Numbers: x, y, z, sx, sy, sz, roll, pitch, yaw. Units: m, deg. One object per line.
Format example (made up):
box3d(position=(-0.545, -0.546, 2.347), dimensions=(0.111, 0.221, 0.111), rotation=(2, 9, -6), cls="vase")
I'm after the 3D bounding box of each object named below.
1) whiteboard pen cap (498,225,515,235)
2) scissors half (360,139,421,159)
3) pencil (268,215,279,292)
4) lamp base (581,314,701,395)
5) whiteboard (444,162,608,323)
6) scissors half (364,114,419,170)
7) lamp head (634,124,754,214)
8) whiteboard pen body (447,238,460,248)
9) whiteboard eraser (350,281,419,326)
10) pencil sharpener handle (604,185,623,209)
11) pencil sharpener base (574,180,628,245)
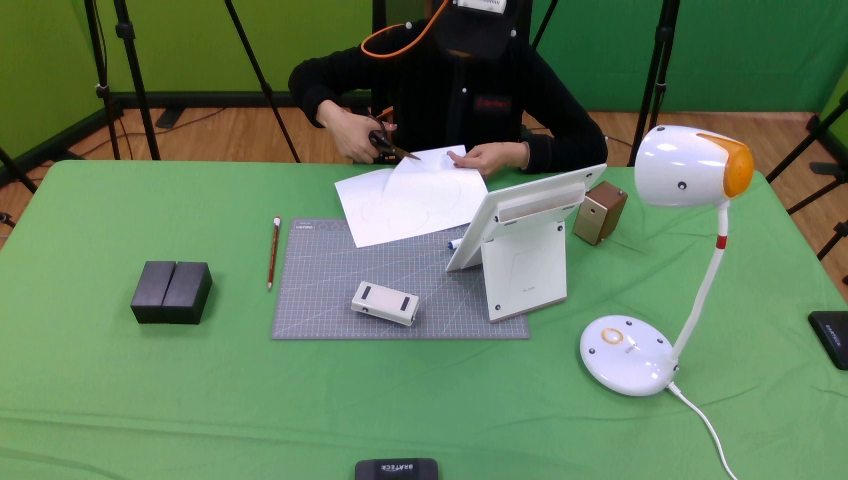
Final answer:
box3d(position=(0.166, -0.019, 1.222), dimensions=(0.033, 0.018, 0.018), rotation=(-15, 49, -19), cls="whiteboard pen cap")
box3d(position=(-0.075, -0.195, 1.337), dimensions=(0.174, 0.040, 0.013), rotation=(16, 30, 35), cls="scissors half")
box3d(position=(-0.290, 0.023, 1.164), dimensions=(0.012, 0.012, 0.192), rotation=(-2, 48, -6), cls="pencil")
box3d(position=(0.361, 0.145, 0.972), dimensions=(0.178, 0.181, 0.160), rotation=(34, 53, 23), cls="lamp base")
box3d(position=(0.186, 0.025, 1.029), dimensions=(0.217, 0.306, 0.143), rotation=(-14, 68, -17), cls="whiteboard")
box3d(position=(-0.071, -0.214, 1.323), dimensions=(0.174, 0.040, 0.013), rotation=(47, 48, 12), cls="scissors half")
box3d(position=(0.351, -0.089, 0.775), dimensions=(0.112, 0.113, 0.122), rotation=(-30, 30, -28), cls="lamp head")
box3d(position=(0.112, -0.006, 1.204), dimensions=(0.141, 0.017, 0.017), rotation=(-14, 49, -18), cls="whiteboard pen body")
box3d(position=(-0.069, 0.113, 1.065), dimensions=(0.112, 0.042, 0.055), rotation=(14, 46, 9), cls="whiteboard eraser")
box3d(position=(0.390, -0.091, 1.235), dimensions=(0.030, 0.068, 0.036), rotation=(-33, 69, -31), cls="pencil sharpener handle")
box3d(position=(0.356, -0.056, 1.217), dimensions=(0.076, 0.107, 0.061), rotation=(-33, 56, -31), cls="pencil sharpener base")
